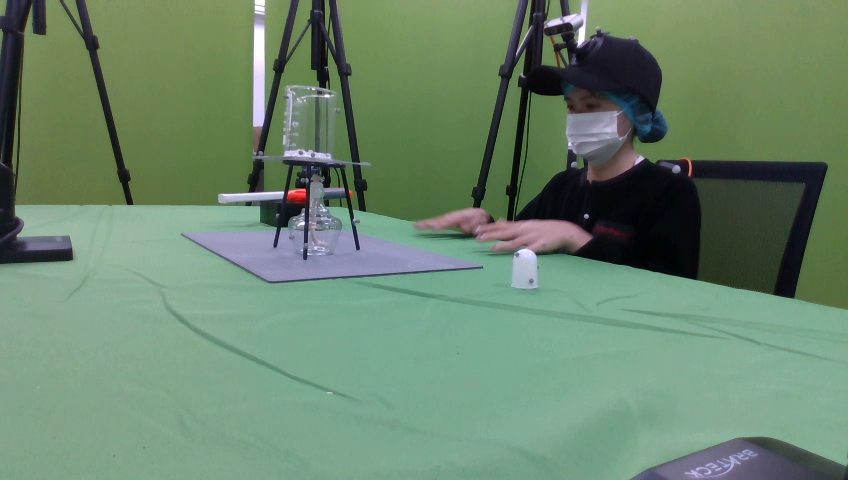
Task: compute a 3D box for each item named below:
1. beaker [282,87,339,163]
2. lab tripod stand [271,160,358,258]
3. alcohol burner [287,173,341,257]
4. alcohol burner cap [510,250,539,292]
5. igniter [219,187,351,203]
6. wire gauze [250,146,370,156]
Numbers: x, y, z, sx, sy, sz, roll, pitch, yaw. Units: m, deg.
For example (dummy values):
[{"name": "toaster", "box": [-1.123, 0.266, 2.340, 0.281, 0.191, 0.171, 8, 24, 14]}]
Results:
[{"name": "beaker", "box": [-0.164, -0.160, 0.856, 0.074, 0.100, 0.083, 1, 6, -37]}, {"name": "lab tripod stand", "box": [-0.159, -0.048, 0.876, 0.148, 0.131, 0.148, 3, 5, 0]}, {"name": "alcohol burner", "box": [-0.158, -0.037, 0.868, 0.078, 0.119, 0.078, 1, 6, 0]}, {"name": "alcohol burner cap", "box": [0.118, 0.036, 0.704, 0.034, 0.048, 0.034, 0, 6, 0]}, {"name": "igniter", "box": [-0.280, -0.092, 1.254, 0.278, 0.025, 0.057, -6, 10, -34]}, {"name": "wire gauze", "box": [-0.162, -0.128, 0.868, 0.124, 0.011, 0.122, 2, 7, 32]}]
